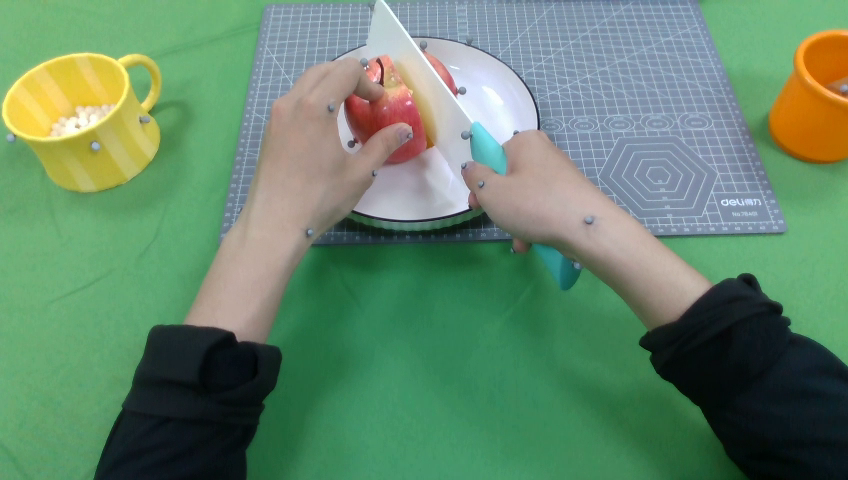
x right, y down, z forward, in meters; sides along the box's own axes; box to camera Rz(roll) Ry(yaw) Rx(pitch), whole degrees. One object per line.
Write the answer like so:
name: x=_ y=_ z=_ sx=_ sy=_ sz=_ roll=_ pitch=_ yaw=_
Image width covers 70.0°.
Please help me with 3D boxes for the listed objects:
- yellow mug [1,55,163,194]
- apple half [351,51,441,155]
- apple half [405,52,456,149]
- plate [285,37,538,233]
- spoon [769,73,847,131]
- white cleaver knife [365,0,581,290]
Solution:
yellow mug: x=-0.277 y=-0.109 z=0.518 sx=0.099 sy=0.064 sz=0.130 roll=29 pitch=62 yaw=18
apple half: x=-0.027 y=-0.102 z=0.487 sx=0.053 sy=0.075 sz=0.080 roll=-40 pitch=61 yaw=-6
apple half: x=0.005 y=-0.117 z=0.503 sx=0.033 sy=0.082 sz=0.080 roll=-22 pitch=59 yaw=-23
plate: x=-0.010 y=-0.089 z=0.514 sx=0.209 sy=0.038 sz=0.207 roll=0 pitch=58 yaw=1
spoon: x=0.374 y=-0.145 z=0.478 sx=0.022 sy=0.194 sz=0.041 roll=24 pitch=45 yaw=-36
white cleaver knife: x=0.027 y=-0.078 z=0.460 sx=0.021 sy=0.066 sz=0.284 roll=-22 pitch=64 yaw=-22
